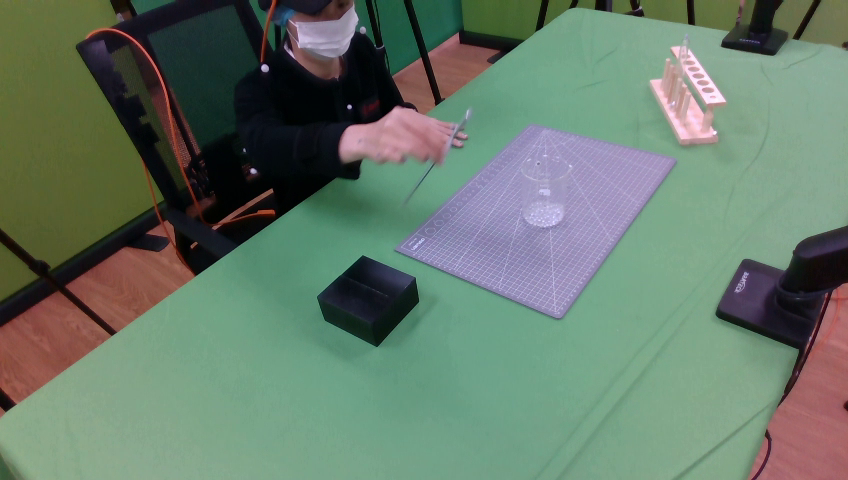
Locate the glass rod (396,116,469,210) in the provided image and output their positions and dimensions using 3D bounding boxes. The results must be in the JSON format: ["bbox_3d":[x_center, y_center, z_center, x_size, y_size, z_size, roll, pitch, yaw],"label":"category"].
[{"bbox_3d":[0.007,-0.099,0.815,0.008,0.199,0.008,18,50,-22],"label":"glass rod"}]

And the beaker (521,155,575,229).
[{"bbox_3d":[0.197,-0.075,0.969,0.084,0.101,0.073,-6,40,2],"label":"beaker"}]

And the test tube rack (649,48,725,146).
[{"bbox_3d":[0.508,-0.285,1.186,0.067,0.085,0.241,-4,40,6],"label":"test tube rack"}]

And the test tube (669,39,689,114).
[{"bbox_3d":[0.482,-0.308,1.146,0.017,0.151,0.017,-5,42,5],"label":"test tube"}]
